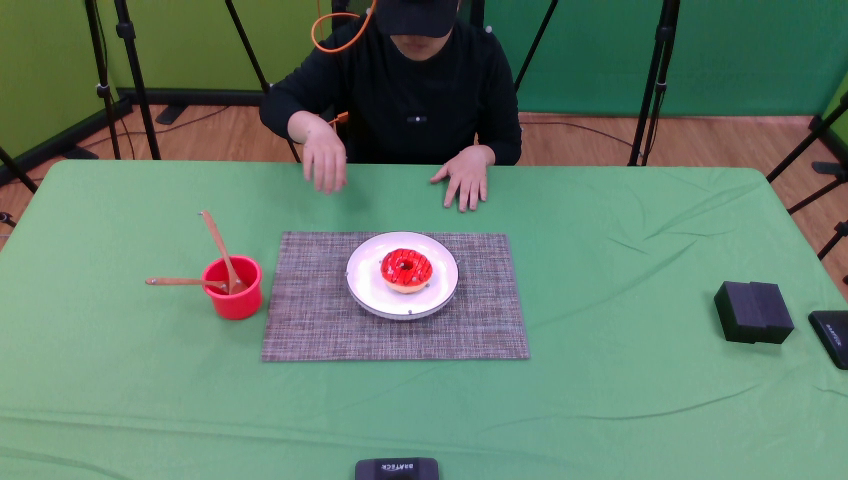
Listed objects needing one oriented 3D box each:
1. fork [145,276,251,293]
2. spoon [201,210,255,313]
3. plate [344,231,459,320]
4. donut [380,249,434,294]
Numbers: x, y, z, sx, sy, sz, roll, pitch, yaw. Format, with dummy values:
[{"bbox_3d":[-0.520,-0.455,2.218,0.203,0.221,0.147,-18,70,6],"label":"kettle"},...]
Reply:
[{"bbox_3d":[-0.368,0.073,1.006,0.018,0.208,0.028,-24,72,23],"label":"fork"},{"bbox_3d":[-0.343,0.037,1.052,0.041,0.021,0.194,-23,96,-32],"label":"spoon"},{"bbox_3d":[-0.042,0.068,1.115,0.209,0.038,0.208,2,46,-2],"label":"plate"},{"bbox_3d":[-0.032,0.056,1.111,0.099,0.048,0.098,3,43,-3],"label":"donut"}]
